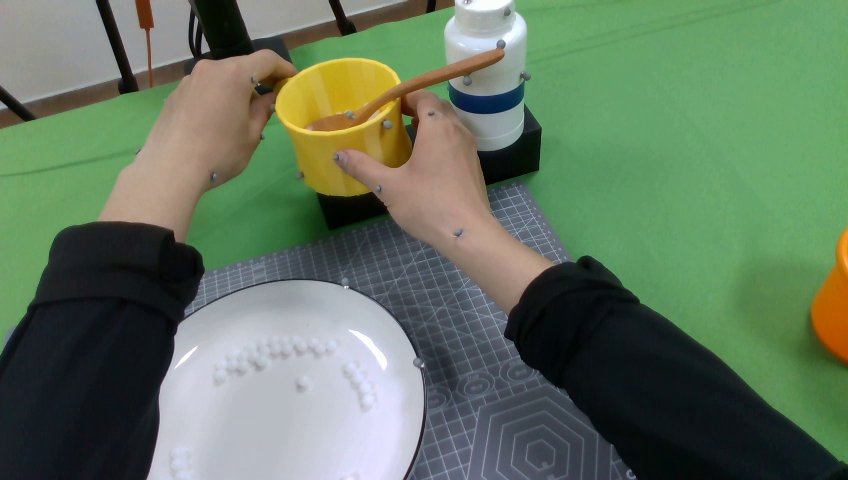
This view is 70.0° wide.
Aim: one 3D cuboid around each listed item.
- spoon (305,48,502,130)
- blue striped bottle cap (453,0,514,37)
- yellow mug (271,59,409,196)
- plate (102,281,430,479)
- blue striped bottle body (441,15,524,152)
[{"bbox_3d":[-0.025,-0.106,0.459,0.193,0.022,0.041,-16,36,39],"label":"spoon"},{"bbox_3d":[0.043,-0.169,0.442,0.044,0.021,0.044,-5,50,6],"label":"blue striped bottle cap"},{"bbox_3d":[-0.078,-0.099,0.502,0.130,0.064,0.099,23,55,26],"label":"yellow mug"},{"bbox_3d":[-0.098,0.120,0.399,0.207,0.039,0.205,-3,49,4],"label":"plate"},{"bbox_3d":[0.047,-0.135,0.480,0.063,0.122,0.062,-4,49,5],"label":"blue striped bottle body"}]
